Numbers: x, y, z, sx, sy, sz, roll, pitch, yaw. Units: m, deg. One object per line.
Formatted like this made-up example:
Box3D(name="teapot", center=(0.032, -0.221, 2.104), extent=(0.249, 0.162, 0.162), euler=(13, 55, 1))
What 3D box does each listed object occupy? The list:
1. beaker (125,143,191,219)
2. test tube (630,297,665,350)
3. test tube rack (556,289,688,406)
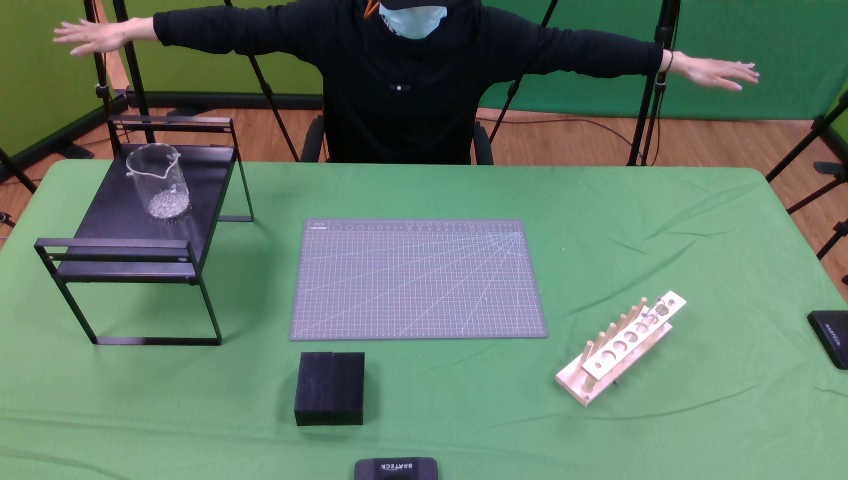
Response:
Box3D(name="beaker", center=(-0.409, -0.088, 0.946), extent=(0.074, 0.101, 0.083), euler=(-28, 54, -26))
Box3D(name="test tube", center=(0.354, 0.137, 0.973), extent=(0.017, 0.151, 0.017), euler=(1, 52, -2))
Box3D(name="test tube rack", center=(0.332, 0.166, 1.014), extent=(0.242, 0.085, 0.066), euler=(-30, 55, -28))
